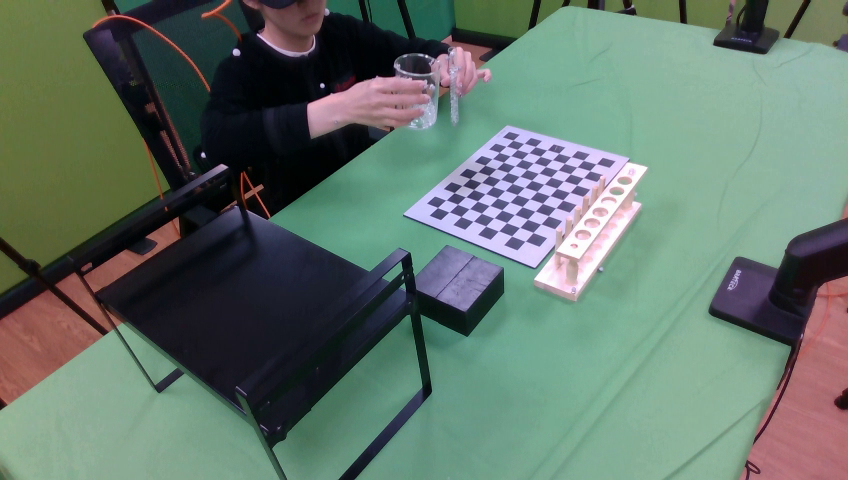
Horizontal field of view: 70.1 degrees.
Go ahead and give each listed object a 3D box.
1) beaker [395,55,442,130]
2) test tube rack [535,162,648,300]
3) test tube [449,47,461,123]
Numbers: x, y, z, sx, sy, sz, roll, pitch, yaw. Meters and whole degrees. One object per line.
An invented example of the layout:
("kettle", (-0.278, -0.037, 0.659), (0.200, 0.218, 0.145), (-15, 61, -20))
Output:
("beaker", (-0.008, -0.236, 0.970), (0.073, 0.100, 0.084), (26, 46, 23))
("test tube rack", (0.257, -0.024, 0.916), (0.066, 0.085, 0.243), (22, 49, 30))
("test tube", (0.056, -0.273, 1.081), (0.017, 0.151, 0.017), (-3, 47, 3))
